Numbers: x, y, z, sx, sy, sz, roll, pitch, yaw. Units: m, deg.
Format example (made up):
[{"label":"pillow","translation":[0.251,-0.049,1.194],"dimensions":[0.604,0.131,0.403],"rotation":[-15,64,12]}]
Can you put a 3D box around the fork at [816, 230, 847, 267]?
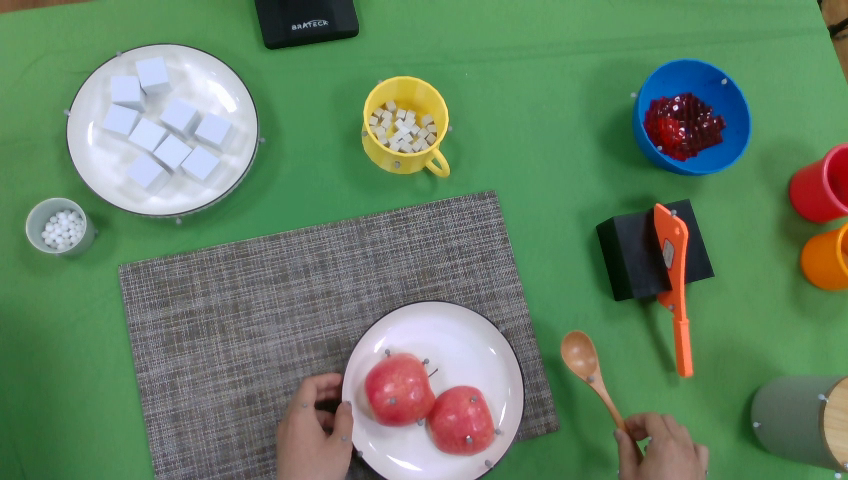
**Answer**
[{"label":"fork","translation":[0.543,0.053,0.736],"dimensions":[0.028,0.019,0.205],"rotation":[2,36,-7]}]

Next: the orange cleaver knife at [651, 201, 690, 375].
[{"label":"orange cleaver knife","translation":[0.297,0.058,0.733],"dimensions":[0.012,0.076,0.212],"rotation":[-11,105,-6]}]

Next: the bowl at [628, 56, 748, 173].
[{"label":"bowl","translation":[0.323,-0.149,0.778],"dimensions":[0.152,0.077,0.151],"rotation":[2,80,-8]}]

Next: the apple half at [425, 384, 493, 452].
[{"label":"apple half","translation":[0.041,0.202,0.680],"dimensions":[0.081,0.033,0.081],"rotation":[2,76,-7]}]

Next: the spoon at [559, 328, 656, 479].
[{"label":"spoon","translation":[0.209,0.189,0.685],"dimensions":[0.042,0.022,0.192],"rotation":[-24,76,-19]}]

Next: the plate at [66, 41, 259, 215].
[{"label":"plate","translation":[-0.296,-0.127,0.702],"dimensions":[0.208,0.039,0.206],"rotation":[2,79,-8]}]

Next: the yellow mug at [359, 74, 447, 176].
[{"label":"yellow mug","translation":[-0.017,-0.128,0.730],"dimensions":[0.100,0.064,0.131],"rotation":[-42,88,-14]}]

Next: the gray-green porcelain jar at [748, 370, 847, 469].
[{"label":"gray-green porcelain jar","translation":[0.456,0.205,0.707],"dimensions":[0.106,0.127,0.105],"rotation":[2,78,-8]}]

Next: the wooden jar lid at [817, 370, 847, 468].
[{"label":"wooden jar lid","translation":[0.464,0.192,0.646],"dimensions":[0.108,0.021,0.108],"rotation":[1,81,-9]}]

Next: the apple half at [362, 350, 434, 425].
[{"label":"apple half","translation":[-0.029,0.164,0.668],"dimensions":[0.075,0.053,0.080],"rotation":[-16,82,-8]}]

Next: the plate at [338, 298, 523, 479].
[{"label":"plate","translation":[0.007,0.170,0.687],"dimensions":[0.209,0.038,0.208],"rotation":[2,80,-9]}]

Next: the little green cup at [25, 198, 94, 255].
[{"label":"little green cup","translation":[-0.396,-0.012,0.663],"dimensions":[0.062,0.038,0.061],"rotation":[2,79,-9]}]
